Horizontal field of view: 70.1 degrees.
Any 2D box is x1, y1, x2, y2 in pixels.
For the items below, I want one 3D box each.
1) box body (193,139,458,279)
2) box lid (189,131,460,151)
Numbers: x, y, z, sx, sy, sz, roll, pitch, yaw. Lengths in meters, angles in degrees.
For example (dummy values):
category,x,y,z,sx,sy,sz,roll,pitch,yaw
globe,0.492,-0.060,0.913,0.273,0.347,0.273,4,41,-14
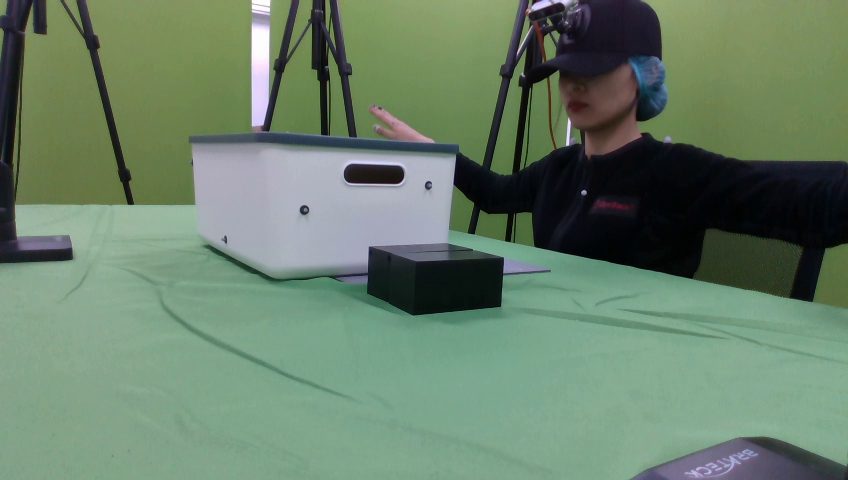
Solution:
category,x,y,z,sx,sy,sz,roll,pitch,yaw
box body,-0.154,-0.059,0.840,0.255,0.160,0.362,-2,9,-33
box lid,-0.150,-0.132,0.828,0.265,0.015,0.369,-3,9,-33
